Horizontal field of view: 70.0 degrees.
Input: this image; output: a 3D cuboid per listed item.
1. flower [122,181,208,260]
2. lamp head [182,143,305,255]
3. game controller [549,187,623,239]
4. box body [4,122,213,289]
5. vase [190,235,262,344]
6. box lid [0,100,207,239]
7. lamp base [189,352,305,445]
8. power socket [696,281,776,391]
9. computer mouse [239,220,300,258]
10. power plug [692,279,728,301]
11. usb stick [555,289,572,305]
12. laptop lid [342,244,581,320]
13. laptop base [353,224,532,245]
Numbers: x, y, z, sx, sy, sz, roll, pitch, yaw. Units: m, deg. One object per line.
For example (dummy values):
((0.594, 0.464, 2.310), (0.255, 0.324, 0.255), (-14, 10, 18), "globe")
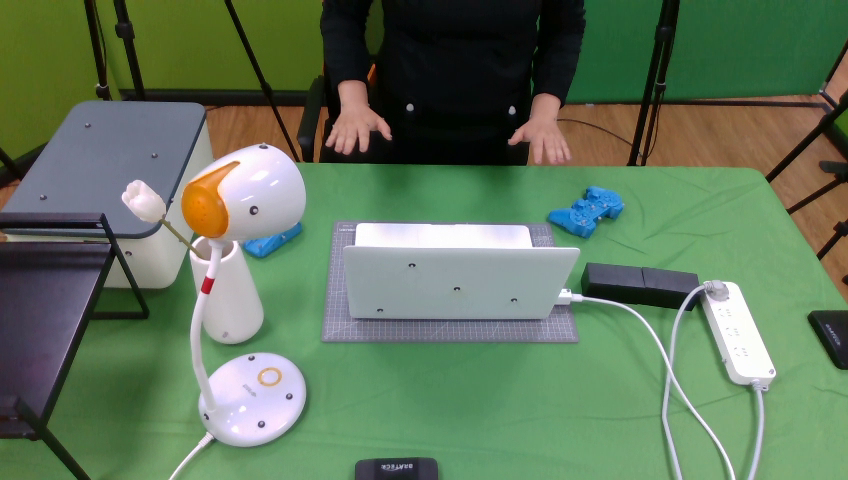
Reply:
((-0.329, 0.029, 0.905), (0.038, 0.364, 0.044), (-21, 58, -1), "flower")
((-0.216, -0.044, 0.697), (0.112, 0.113, 0.123), (23, 31, 17), "lamp head")
((0.345, -0.065, 1.272), (0.155, 0.052, 0.096), (-31, 59, -28), "game controller")
((-0.563, -0.088, 1.139), (0.254, 0.161, 0.361), (2, 46, -3), "box body")
((-0.317, 0.081, 0.971), (0.098, 0.201, 0.097), (3, 47, -3), "vase")
((-0.559, -0.138, 1.085), (0.263, 0.015, 0.369), (2, 46, -2), "box lid")
((-0.268, 0.196, 0.876), (0.160, 0.181, 0.179), (25, 52, 19), "lamp base")
((0.550, 0.160, 1.078), (0.072, 0.033, 0.225), (2, 46, -1), "power socket")
((-0.300, -0.017, 1.178), (0.062, 0.041, 0.117), (35, 58, 23), "computer mouse")
((0.522, 0.092, 1.115), (0.072, 0.053, 0.035), (9, 46, 7), "power plug")
((0.236, 0.103, 1.101), (0.059, 0.027, 0.021), (0, 48, 1), "usb stick")
((0.051, 0.074, 0.969), (0.357, 0.243, 0.013), (1, 56, -5), "laptop lid")
((0.040, 0.056, 1.149), (0.355, 0.023, 0.234), (1, 43, -4), "laptop base")
